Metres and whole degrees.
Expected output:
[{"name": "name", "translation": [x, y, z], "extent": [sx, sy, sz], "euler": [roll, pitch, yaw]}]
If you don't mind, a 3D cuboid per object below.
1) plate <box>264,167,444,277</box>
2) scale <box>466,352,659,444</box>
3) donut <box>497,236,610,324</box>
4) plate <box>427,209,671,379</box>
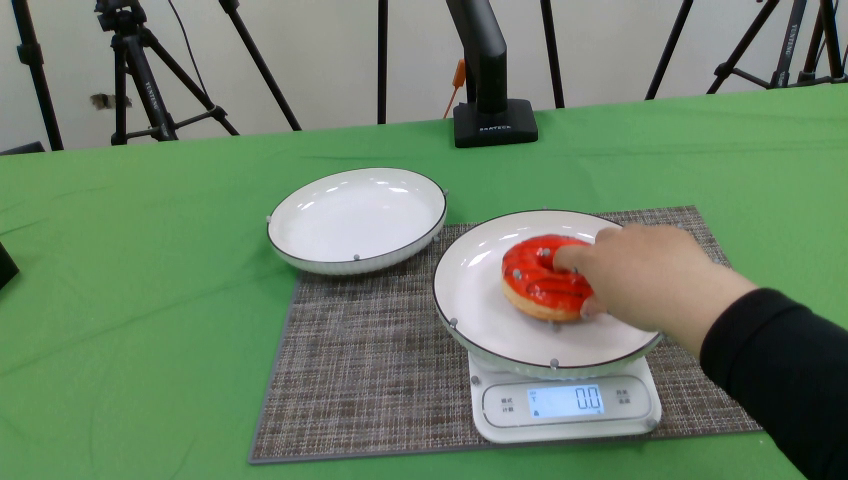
[{"name": "plate", "translation": [-0.079, -0.020, 0.709], "extent": [0.209, 0.038, 0.207], "euler": [-5, 35, 4]}, {"name": "scale", "translation": [0.111, 0.086, 0.542], "extent": [0.148, 0.032, 0.199], "euler": [-5, 38, 3]}, {"name": "donut", "translation": [0.113, 0.035, 0.531], "extent": [0.099, 0.048, 0.098], "euler": [-2, 35, 2]}, {"name": "plate", "translation": [0.107, 0.046, 0.541], "extent": [0.207, 0.039, 0.205], "euler": [-4, 38, 3]}]
